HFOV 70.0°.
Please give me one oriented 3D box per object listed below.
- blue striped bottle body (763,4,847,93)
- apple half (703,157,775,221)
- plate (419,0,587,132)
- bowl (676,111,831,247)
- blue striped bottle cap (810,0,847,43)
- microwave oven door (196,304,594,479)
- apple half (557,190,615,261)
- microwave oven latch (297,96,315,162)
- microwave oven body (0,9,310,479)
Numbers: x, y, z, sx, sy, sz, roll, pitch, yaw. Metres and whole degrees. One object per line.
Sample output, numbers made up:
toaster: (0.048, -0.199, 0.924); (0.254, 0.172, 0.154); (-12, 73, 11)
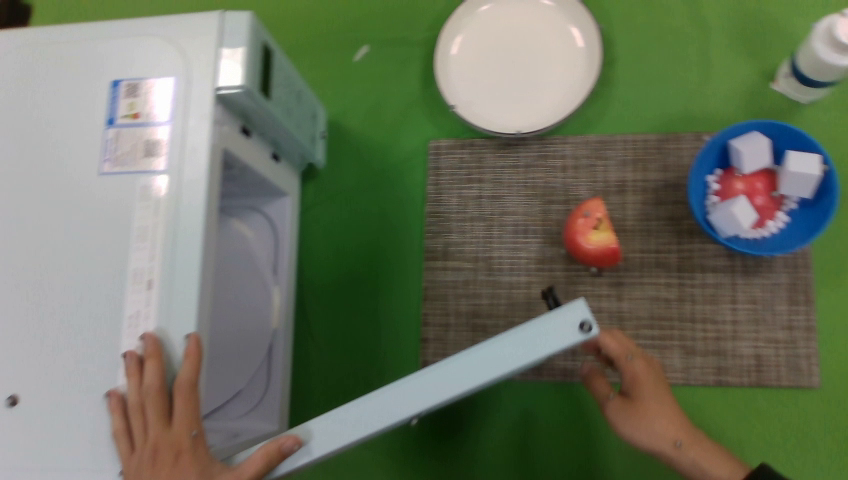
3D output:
blue striped bottle body: (0.434, -0.217, 0.676); (0.063, 0.121, 0.063); (-1, 79, 8)
apple half: (0.354, -0.059, 0.674); (0.081, 0.033, 0.081); (-2, 80, 9)
plate: (0.099, -0.233, 0.770); (0.207, 0.039, 0.207); (-1, 81, 8)
bowl: (0.354, -0.059, 0.679); (0.151, 0.077, 0.151); (-1, 80, 9)
blue striped bottle cap: (0.427, -0.227, 0.626); (0.044, 0.021, 0.044); (-1, 83, 8)
microwave oven door: (-0.013, 0.151, 0.599); (0.356, 0.245, 0.039); (-25, 77, 3)
apple half: (0.181, -0.011, 0.699); (0.053, 0.075, 0.080); (-21, 82, 10)
microwave oven latch: (-0.154, -0.141, 0.771); (0.030, 0.029, 0.079); (-2, 81, 7)
microwave oven body: (-0.313, 0.022, 0.668); (0.326, 0.261, 0.440); (-2, 81, 7)
